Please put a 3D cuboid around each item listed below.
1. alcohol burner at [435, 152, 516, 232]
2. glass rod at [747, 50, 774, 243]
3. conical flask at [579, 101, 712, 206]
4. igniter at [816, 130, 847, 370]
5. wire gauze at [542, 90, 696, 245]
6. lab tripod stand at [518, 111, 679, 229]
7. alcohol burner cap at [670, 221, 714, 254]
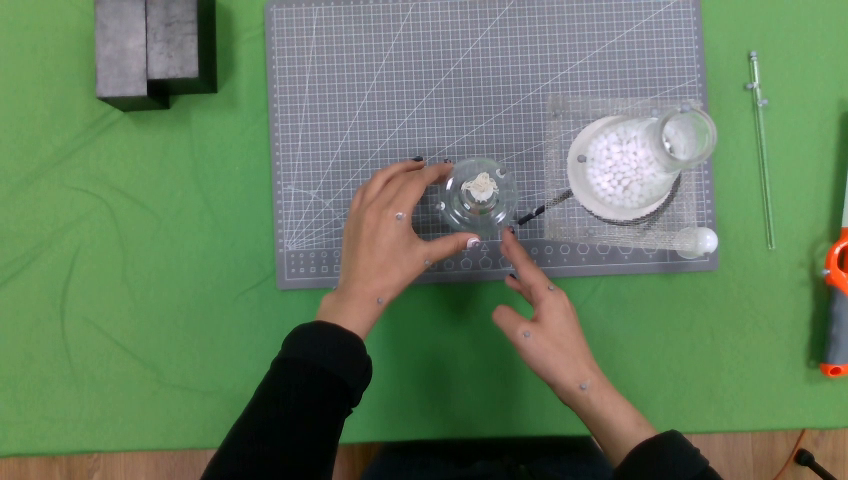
[{"bbox_3d":[0.049,-0.047,0.566,0.078,0.119,0.078,0,89,3],"label":"alcohol burner"},{"bbox_3d":[0.344,-0.096,0.620,0.008,0.008,0.199,-4,87,0],"label":"glass rod"},{"bbox_3d":[0.160,-0.065,0.431,0.075,0.122,0.075,0,89,1],"label":"conical flask"},{"bbox_3d":[0.429,-0.006,0.608,0.057,0.025,0.276,8,88,-10],"label":"igniter"},{"bbox_3d":[0.157,-0.059,0.490,0.125,0.011,0.121,3,91,-1],"label":"wire gauze"},{"bbox_3d":[0.161,-0.055,0.555,0.148,0.131,0.148,0,89,1],"label":"lab tripod stand"},{"bbox_3d":[0.267,-0.003,0.598,0.034,0.048,0.034,0,87,1],"label":"alcohol burner cap"}]
